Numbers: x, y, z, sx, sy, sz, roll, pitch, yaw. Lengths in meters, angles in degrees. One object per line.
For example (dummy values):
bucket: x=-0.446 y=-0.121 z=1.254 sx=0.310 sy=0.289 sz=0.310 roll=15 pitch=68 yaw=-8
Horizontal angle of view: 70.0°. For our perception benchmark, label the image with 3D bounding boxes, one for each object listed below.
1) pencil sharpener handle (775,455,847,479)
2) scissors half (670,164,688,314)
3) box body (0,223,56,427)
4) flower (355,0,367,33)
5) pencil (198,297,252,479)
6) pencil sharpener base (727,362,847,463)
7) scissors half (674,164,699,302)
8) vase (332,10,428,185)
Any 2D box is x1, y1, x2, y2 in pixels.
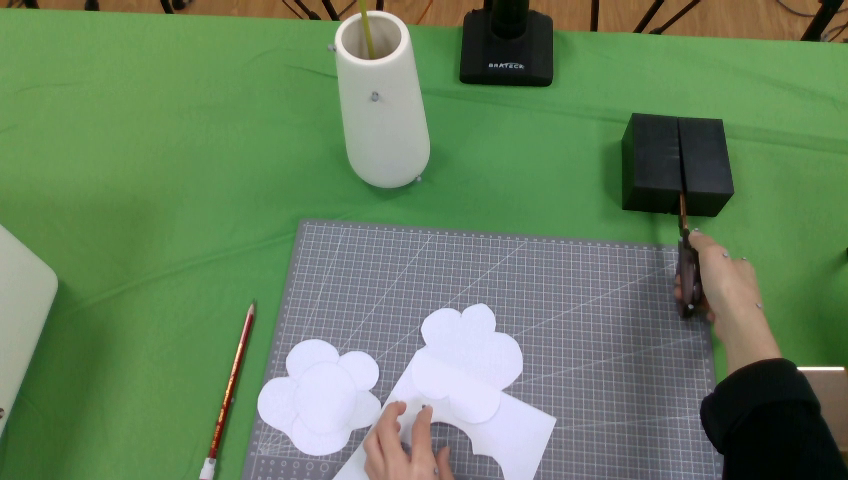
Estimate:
pencil sharpener handle: x=0.321 y=0.199 z=0.502 sx=0.036 sy=0.068 sz=0.030 roll=6 pitch=63 yaw=-11
scissors half: x=0.271 y=-0.005 z=0.647 sx=0.013 sy=0.040 sz=0.174 roll=5 pitch=71 yaw=11
box body: x=-0.533 y=0.140 z=0.535 sx=0.254 sy=0.161 sz=0.361 roll=4 pitch=63 yaw=4
flower: x=-0.056 y=-0.195 z=0.578 sx=0.044 sy=0.365 sz=0.038 roll=-2 pitch=45 yaw=4
pencil: x=-0.197 y=0.146 z=0.611 sx=0.012 sy=0.012 sz=0.192 roll=5 pitch=62 yaw=4
pencil sharpener base: x=0.326 y=0.159 z=0.536 sx=0.061 sy=0.108 sz=0.076 roll=0 pitch=64 yaw=1
scissors half: x=0.269 y=-0.014 z=0.629 sx=0.013 sy=0.040 sz=0.173 roll=7 pitch=53 yaw=6
vase: x=-0.048 y=-0.145 z=0.646 sx=0.098 sy=0.201 sz=0.097 roll=-1 pitch=62 yaw=2
